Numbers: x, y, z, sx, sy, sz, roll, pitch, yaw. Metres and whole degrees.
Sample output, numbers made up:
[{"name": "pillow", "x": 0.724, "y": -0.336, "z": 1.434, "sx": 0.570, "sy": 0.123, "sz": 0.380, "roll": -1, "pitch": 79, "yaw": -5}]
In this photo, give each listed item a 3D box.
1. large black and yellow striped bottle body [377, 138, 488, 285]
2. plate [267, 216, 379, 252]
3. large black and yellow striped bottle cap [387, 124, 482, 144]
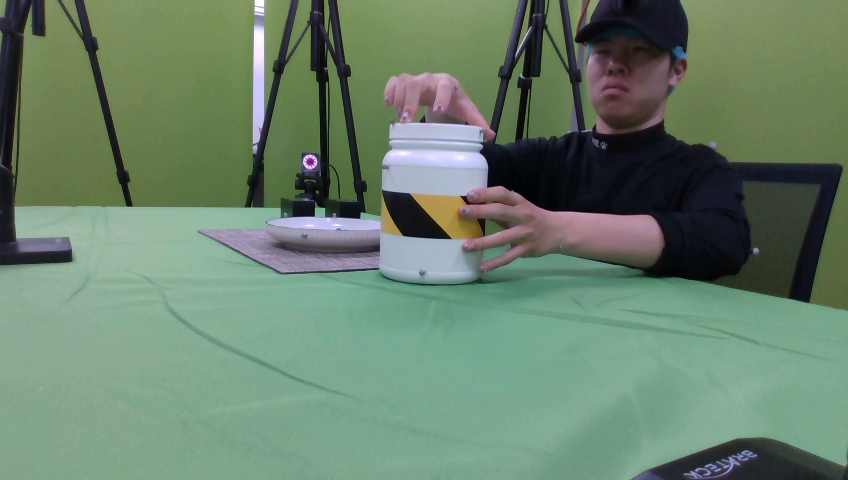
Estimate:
[{"name": "large black and yellow striped bottle body", "x": 0.010, "y": -0.044, "z": 0.745, "sx": 0.131, "sy": 0.184, "sz": 0.130, "roll": 3, "pitch": 7, "yaw": 0}, {"name": "plate", "x": -0.145, "y": -0.010, "z": 0.967, "sx": 0.208, "sy": 0.039, "sz": 0.207, "roll": 2, "pitch": 7, "yaw": 0}, {"name": "large black and yellow striped bottle cap", "x": 0.013, "y": -0.128, "z": 0.734, "sx": 0.115, "sy": 0.019, "sz": 0.115, "roll": 3, "pitch": 9, "yaw": 0}]
